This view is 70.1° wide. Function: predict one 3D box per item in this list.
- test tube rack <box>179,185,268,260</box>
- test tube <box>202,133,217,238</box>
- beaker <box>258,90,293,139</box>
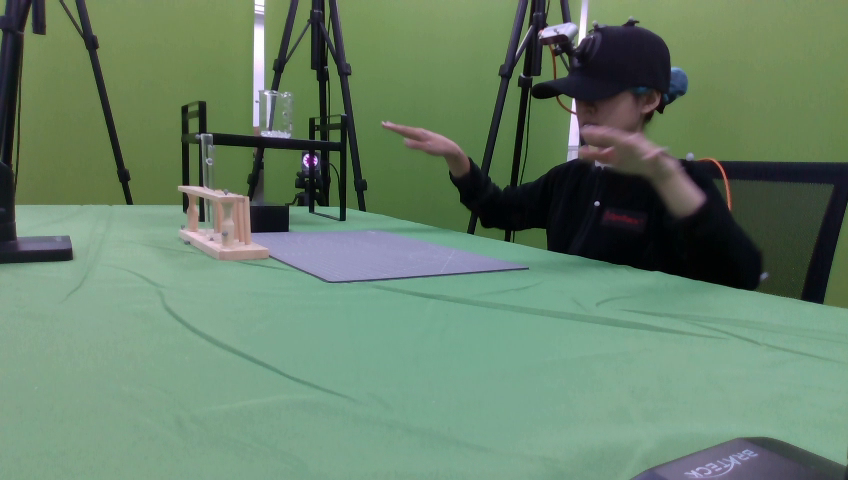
[{"bbox_3d":[-0.303,-0.031,0.898,0.067,0.085,0.241,-2,9,-33],"label":"test tube rack"},{"bbox_3d":[-0.307,-0.078,0.868,0.017,0.150,0.017,1,10,0],"label":"test tube"},{"bbox_3d":[-0.324,-0.274,1.326,0.074,0.100,0.083,-2,10,-33],"label":"beaker"}]
